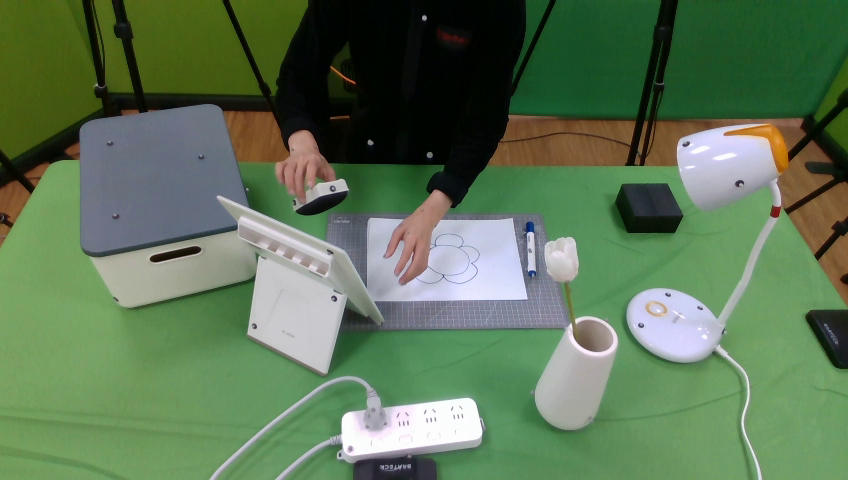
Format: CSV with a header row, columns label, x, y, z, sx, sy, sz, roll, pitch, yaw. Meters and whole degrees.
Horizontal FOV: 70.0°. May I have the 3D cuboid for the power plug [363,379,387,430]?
label,x,y,z,sx,sy,sz,roll,pitch,yaw
power plug,-0.072,0.252,0.911,0.035,0.053,0.072,3,40,0

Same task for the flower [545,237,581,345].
label,x,y,z,sx,sy,sz,roll,pitch,yaw
flower,0.213,0.137,0.846,0.038,0.364,0.044,21,55,40

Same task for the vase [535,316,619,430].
label,x,y,z,sx,sy,sz,roll,pitch,yaw
vase,0.229,0.200,0.901,0.098,0.201,0.097,3,46,-3

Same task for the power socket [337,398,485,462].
label,x,y,z,sx,sy,sz,roll,pitch,yaw
power socket,-0.018,0.285,0.914,0.227,0.033,0.071,-4,46,-8

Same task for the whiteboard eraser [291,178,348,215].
label,x,y,z,sx,sy,sz,roll,pitch,yaw
whiteboard eraser,-0.175,-0.069,1.009,0.055,0.112,0.042,-20,91,-36

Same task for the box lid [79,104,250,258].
label,x,y,z,sx,sy,sz,roll,pitch,yaw
box lid,-0.467,-0.120,1.075,0.264,0.015,0.369,-13,49,-18

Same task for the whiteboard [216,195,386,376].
label,x,y,z,sx,sy,sz,roll,pitch,yaw
whiteboard,-0.212,0.093,0.939,0.216,0.307,0.143,24,70,17

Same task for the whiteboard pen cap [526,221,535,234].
label,x,y,z,sx,sy,sz,roll,pitch,yaw
whiteboard pen cap,0.216,-0.022,1.234,0.018,0.018,0.033,6,45,1

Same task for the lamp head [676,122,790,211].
label,x,y,z,sx,sy,sz,roll,pitch,yaw
lamp head,0.423,-0.104,0.819,0.122,0.113,0.112,-13,33,40

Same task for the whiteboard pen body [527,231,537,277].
label,x,y,z,sx,sy,sz,roll,pitch,yaw
whiteboard pen body,0.211,0.018,1.191,0.017,0.017,0.140,6,44,2

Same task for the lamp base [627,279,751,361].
label,x,y,z,sx,sy,sz,roll,pitch,yaw
lamp base,0.460,0.100,1.027,0.178,0.181,0.160,27,51,17

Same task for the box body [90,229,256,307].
label,x,y,z,sx,sy,sz,roll,pitch,yaw
box body,-0.471,-0.070,1.131,0.254,0.161,0.361,-14,49,-17
